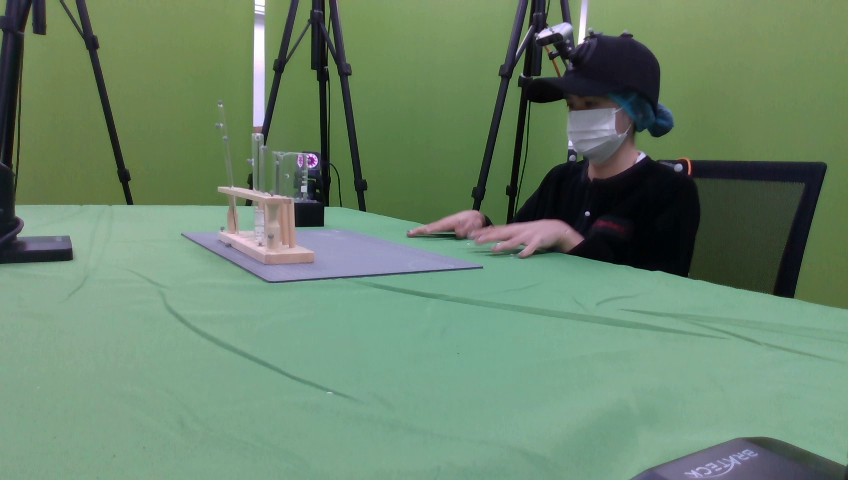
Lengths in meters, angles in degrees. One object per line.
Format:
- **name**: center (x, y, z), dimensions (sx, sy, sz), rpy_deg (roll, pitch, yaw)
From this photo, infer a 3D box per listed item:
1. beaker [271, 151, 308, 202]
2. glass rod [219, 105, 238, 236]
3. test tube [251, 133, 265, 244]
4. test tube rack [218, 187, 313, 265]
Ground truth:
- **beaker**: center (-0.277, -0.129, 1.237), dimensions (0.074, 0.100, 0.084), rpy_deg (4, 9, 10)
- **glass rod**: center (-0.294, -0.100, 0.907), dimensions (0.008, 0.199, 0.008), rpy_deg (-3, 12, 1)
- **test tube**: center (-0.227, -0.070, 0.825), dimensions (0.017, 0.150, 0.017), rpy_deg (0, 3, 0)
- **test tube rack**: center (-0.235, -0.027, 0.872), dimensions (0.067, 0.085, 0.241), rpy_deg (-2, 8, -32)
